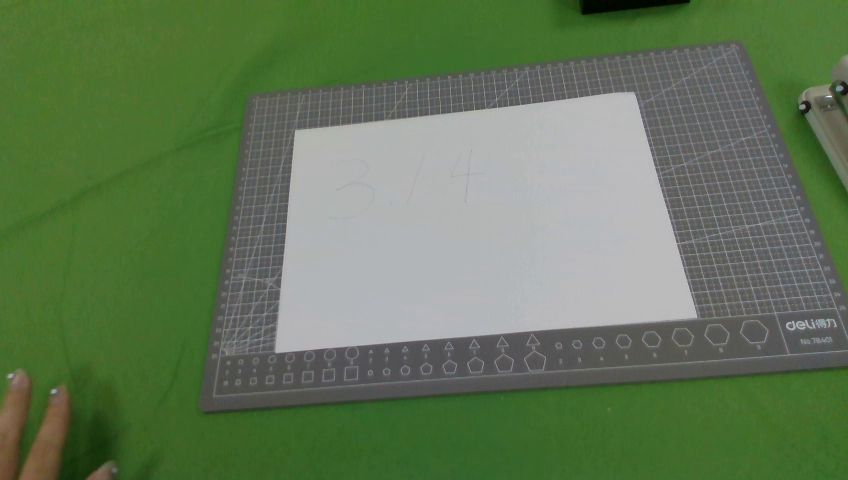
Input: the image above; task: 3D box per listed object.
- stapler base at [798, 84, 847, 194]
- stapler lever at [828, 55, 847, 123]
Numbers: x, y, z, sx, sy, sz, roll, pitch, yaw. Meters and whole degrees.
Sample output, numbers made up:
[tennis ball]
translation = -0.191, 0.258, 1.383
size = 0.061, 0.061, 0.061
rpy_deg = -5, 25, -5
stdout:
[stapler base]
translation = 0.331, -0.074, 0.460
size = 0.041, 0.024, 0.129
rpy_deg = -10, 62, 5
[stapler lever]
translation = 0.328, -0.085, 0.437
size = 0.027, 0.040, 0.117
rpy_deg = -10, 62, 5
